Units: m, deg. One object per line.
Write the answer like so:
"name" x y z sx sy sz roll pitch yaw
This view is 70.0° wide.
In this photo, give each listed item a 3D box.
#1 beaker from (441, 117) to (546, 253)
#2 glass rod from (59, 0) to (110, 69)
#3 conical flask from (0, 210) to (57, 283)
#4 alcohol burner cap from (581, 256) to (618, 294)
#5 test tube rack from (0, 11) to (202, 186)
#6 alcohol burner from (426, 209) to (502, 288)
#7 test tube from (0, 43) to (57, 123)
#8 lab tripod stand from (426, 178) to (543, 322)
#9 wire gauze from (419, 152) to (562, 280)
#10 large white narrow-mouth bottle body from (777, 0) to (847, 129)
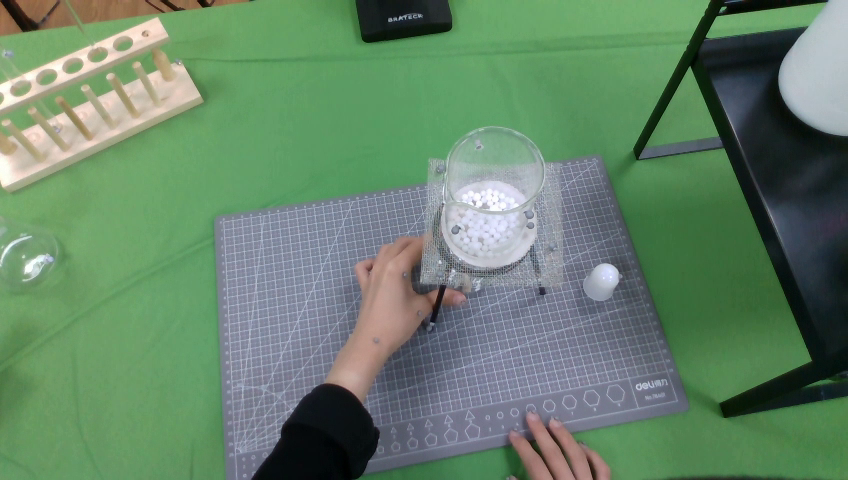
"beaker" 0.049 -0.036 0.485 0.084 0.101 0.073 -32 70 -12
"glass rod" -0.371 -0.230 0.651 0.008 0.201 0.008 -2 59 3
"conical flask" -0.438 -0.010 0.608 0.075 0.123 0.075 0 66 1
"alcohol burner cap" 0.184 0.034 0.629 0.034 0.048 0.033 0 66 1
"test tube rack" -0.393 -0.162 0.694 0.242 0.086 0.066 -29 69 -12
"alcohol burner" 0.041 0.003 0.603 0.078 0.120 0.077 1 65 -1
"test tube" -0.437 -0.178 0.647 0.017 0.151 0.017 0 60 0
"lab tripod stand" 0.054 0.009 0.590 0.148 0.132 0.147 1 65 -1
"wire gauze" 0.059 -0.023 0.531 0.121 0.011 0.124 4 65 -1
"large white narrow-mouth bottle body" 0.353 -0.172 0.442 0.102 0.196 0.101 -1 66 2
